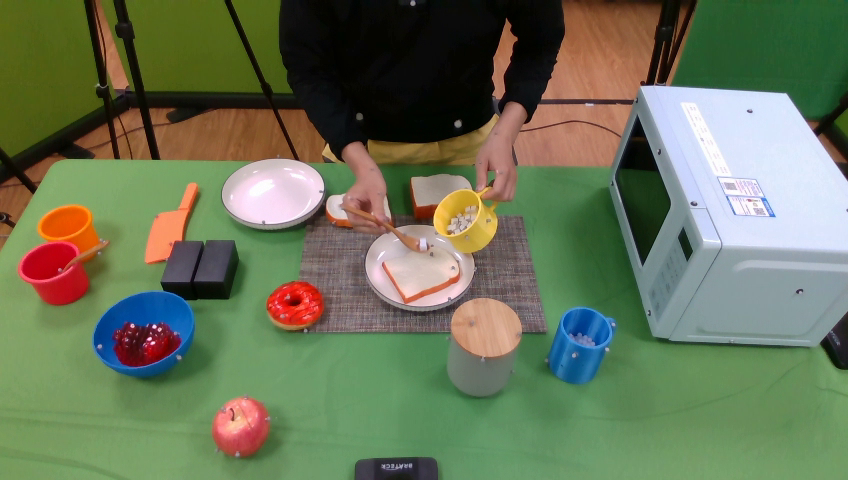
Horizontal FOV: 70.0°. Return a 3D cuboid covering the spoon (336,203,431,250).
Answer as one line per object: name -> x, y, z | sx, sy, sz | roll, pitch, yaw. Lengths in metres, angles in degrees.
spoon -> -0.067, -0.025, 1.037 | 0.195, 0.021, 0.041 | 28, 26, -32

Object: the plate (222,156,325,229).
plate -> -0.308, -0.094, 1.251 | 0.209, 0.038, 0.208 | 2, 47, -2

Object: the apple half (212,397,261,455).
apple half -> -0.276, 0.276, 0.877 | 0.053, 0.075, 0.080 | -29, 58, -21

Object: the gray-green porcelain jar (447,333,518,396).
gray-green porcelain jar -> 0.091, 0.178, 0.960 | 0.106, 0.127, 0.105 | 2, 46, -2

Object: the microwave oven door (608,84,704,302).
microwave oven door -> 0.424, -0.096, 1.138 | 0.039, 0.245, 0.353 | 2, 47, -1

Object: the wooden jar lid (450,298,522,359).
wooden jar lid -> 0.093, 0.135, 0.914 | 0.108, 0.021, 0.107 | 3, 48, -3

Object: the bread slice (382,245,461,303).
bread slice -> 0.001, 0.055, 1.129 | 0.131, 0.019, 0.104 | -21, 52, -20

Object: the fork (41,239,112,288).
fork -> -0.591, 0.040, 1.028 | 0.207, 0.019, 0.028 | -27, 37, 29

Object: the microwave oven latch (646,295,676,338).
microwave oven latch -> 0.413, 0.133, 1.060 | 0.030, 0.029, 0.078 | 4, 46, 1

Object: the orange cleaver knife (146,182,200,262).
orange cleaver knife -> -0.494, -0.039, 1.198 | 0.077, 0.012, 0.210 | -4, 48, 2

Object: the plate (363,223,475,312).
plate -> -0.009, 0.054, 1.126 | 0.208, 0.039, 0.206 | 2, 46, -2

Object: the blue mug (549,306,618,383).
blue mug -> 0.269, 0.167, 0.997 | 0.116, 0.106, 0.082 | -19, 51, -21

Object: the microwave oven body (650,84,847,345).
microwave oven body -> 0.569, -0.054, 1.116 | 0.326, 0.261, 0.439 | 2, 46, -1

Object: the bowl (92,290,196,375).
bowl -> -0.436, 0.161, 0.971 | 0.151, 0.077, 0.150 | 2, 46, -2

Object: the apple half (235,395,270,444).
apple half -> -0.245, 0.259, 0.893 | 0.033, 0.082, 0.081 | -29, 55, -22

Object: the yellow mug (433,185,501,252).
yellow mug -> 0.086, -0.048, 1.096 | 0.131, 0.064, 0.099 | -45, 45, 4

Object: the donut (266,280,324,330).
donut -> -0.223, 0.113, 1.051 | 0.099, 0.048, 0.098 | 2, 45, -2

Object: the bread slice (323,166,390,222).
bread slice -> -0.140, -0.092, 1.224 | 0.134, 0.018, 0.106 | -19, 51, 6
